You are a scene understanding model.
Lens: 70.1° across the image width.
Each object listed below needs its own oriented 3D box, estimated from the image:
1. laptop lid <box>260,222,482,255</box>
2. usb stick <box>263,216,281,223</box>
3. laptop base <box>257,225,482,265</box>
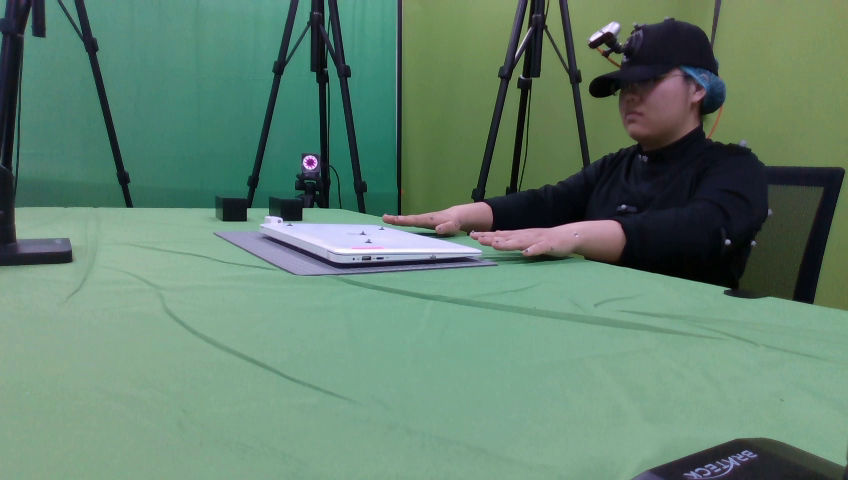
[{"bbox_3d":[-0.099,-0.005,0.962,0.243,0.013,0.355,1,7,-30],"label":"laptop lid"},{"bbox_3d":[-0.269,-0.028,1.081,0.021,0.027,0.059,-2,11,-30],"label":"usb stick"},{"bbox_3d":[-0.102,0.006,0.962,0.237,0.023,0.352,2,6,-32],"label":"laptop base"}]
